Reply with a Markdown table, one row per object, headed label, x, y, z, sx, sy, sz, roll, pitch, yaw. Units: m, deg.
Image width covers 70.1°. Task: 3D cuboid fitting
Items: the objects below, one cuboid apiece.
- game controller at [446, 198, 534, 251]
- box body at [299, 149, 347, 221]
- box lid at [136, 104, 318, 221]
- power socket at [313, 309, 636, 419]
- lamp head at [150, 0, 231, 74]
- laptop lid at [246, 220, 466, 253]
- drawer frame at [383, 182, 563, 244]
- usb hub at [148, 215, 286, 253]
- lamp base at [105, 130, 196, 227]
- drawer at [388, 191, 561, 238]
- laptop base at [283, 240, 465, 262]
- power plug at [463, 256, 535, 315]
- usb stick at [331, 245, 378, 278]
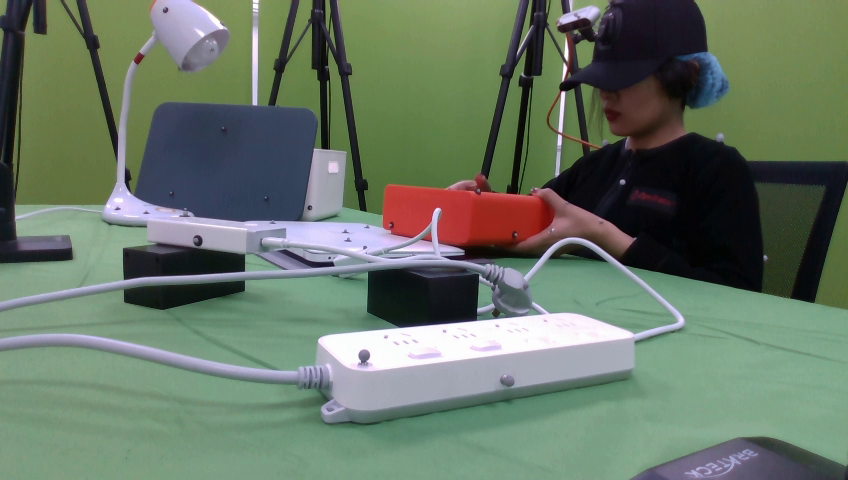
| label | x | y | z | sx | sy | sz | roll | pitch | yaw |
| --- | --- | --- | --- | --- | --- | --- | --- | --- | --- |
| game controller | 0.109 | -0.032 | 1.012 | 0.154 | 0.051 | 0.097 | 11 | -20 | 44 |
| box body | -0.384 | -0.137 | 1.407 | 0.364 | 0.160 | 0.254 | 3 | 8 | 7 |
| box lid | -0.411 | -0.162 | 1.266 | 0.371 | 0.263 | 0.015 | 3 | -15 | 9 |
| power socket | 0.039 | 0.072 | 0.384 | 0.228 | 0.032 | 0.072 | -2 | 7 | -28 |
| lamp head | -0.432 | -0.375 | 1.086 | 0.123 | 0.112 | 0.112 | 42 | 8 | -3 |
| laptop lid | -0.123 | -0.009 | 0.945 | 0.243 | 0.013 | 0.355 | 1 | 7 | -29 |
| drawer frame | 0.079 | -0.045 | 0.978 | 0.215 | 0.082 | 0.200 | -1 | 7 | -43 |
| usb hub | -0.197 | -0.006 | 0.575 | 0.125 | 0.025 | 0.050 | 6 | 7 | 22 |
| lamp base | -0.532 | -0.120 | 1.153 | 0.179 | 0.180 | 0.161 | 1 | 7 | 8 |
| drawer | 0.080 | -0.045 | 0.981 | 0.213 | 0.073 | 0.193 | -1 | 7 | -42 |
| laptop base | -0.125 | 0.002 | 0.945 | 0.237 | 0.023 | 0.352 | 1 | 6 | -31 |
| power plug | 0.064 | 0.039 | 0.530 | 0.072 | 0.052 | 0.035 | 31 | 43 | 7 |
| usb stick | -0.085 | 0.026 | 0.701 | 0.059 | 0.027 | 0.021 | -18 | 19 | 27 |
